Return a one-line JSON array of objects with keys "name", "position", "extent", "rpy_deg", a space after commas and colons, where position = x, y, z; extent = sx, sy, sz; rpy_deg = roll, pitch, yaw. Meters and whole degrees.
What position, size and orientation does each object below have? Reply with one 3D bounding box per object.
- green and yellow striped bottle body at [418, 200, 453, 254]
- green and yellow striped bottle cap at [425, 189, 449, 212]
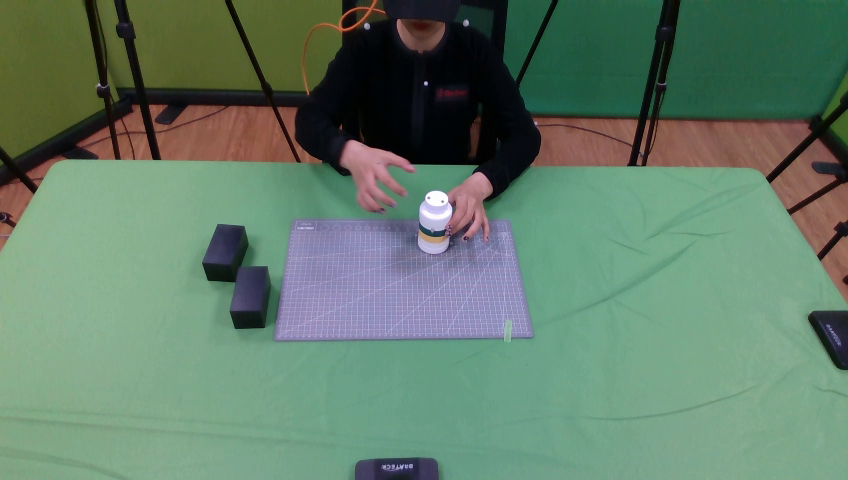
[{"name": "green and yellow striped bottle body", "position": [0.022, -0.036, 1.159], "extent": [0.063, 0.120, 0.063], "rpy_deg": [2, 46, -2]}, {"name": "green and yellow striped bottle cap", "position": [0.024, -0.073, 1.123], "extent": [0.045, 0.020, 0.045], "rpy_deg": [2, 48, -2]}]
